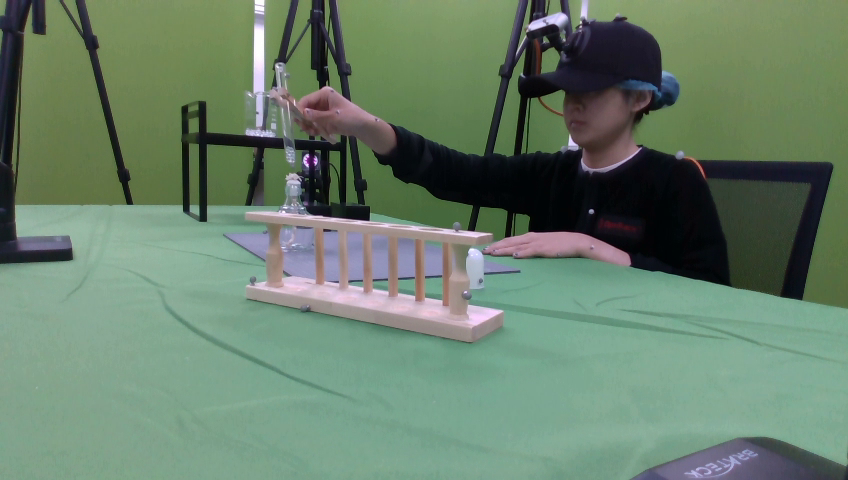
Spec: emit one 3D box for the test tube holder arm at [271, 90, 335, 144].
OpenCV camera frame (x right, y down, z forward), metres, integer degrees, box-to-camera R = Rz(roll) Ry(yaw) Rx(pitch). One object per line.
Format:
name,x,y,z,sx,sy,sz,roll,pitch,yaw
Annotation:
test tube holder arm,-0.186,-0.190,0.951,0.013,0.015,0.179,-5,-15,18

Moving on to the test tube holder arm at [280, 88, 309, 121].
test tube holder arm,-0.194,-0.201,0.908,0.010,0.015,0.088,-4,-14,11

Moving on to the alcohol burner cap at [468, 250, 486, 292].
alcohol burner cap,0.056,0.035,0.690,0.034,0.048,0.034,2,7,0

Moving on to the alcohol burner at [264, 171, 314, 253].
alcohol burner,-0.194,-0.042,0.888,0.078,0.119,0.078,3,5,0

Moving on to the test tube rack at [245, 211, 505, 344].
test tube rack,-0.049,0.025,0.547,0.241,0.085,0.067,7,8,29

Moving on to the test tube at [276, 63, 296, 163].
test tube,-0.202,-0.186,0.885,0.017,0.150,0.017,-7,-6,0

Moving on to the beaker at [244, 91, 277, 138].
beaker,-0.368,-0.280,1.356,0.074,0.100,0.084,4,8,6
